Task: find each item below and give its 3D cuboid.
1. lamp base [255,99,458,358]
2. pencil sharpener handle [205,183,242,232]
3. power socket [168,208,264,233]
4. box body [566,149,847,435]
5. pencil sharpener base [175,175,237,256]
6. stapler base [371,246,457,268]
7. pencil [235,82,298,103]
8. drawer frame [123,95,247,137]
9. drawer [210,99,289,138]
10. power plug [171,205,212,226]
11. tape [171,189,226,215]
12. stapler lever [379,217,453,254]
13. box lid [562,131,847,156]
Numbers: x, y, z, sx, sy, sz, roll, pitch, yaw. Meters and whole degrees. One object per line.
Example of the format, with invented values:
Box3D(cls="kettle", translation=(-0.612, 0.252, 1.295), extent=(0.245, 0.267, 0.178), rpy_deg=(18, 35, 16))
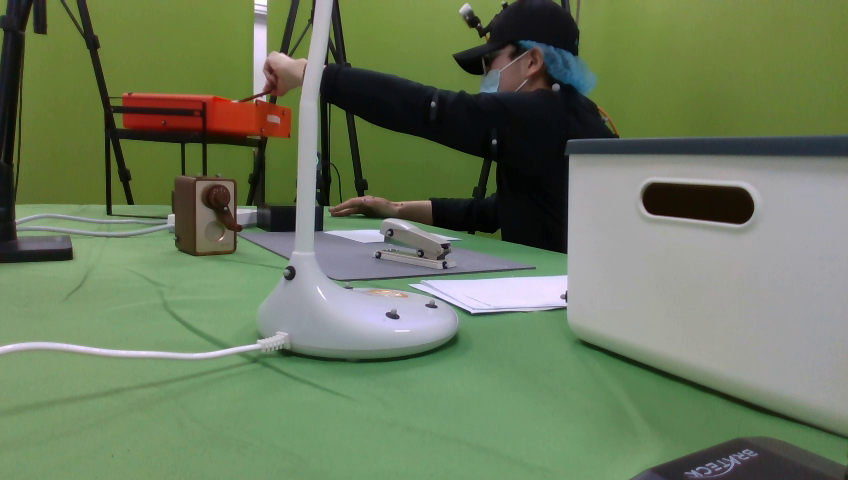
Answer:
Box3D(cls="lamp base", translation=(-0.056, -0.013, 0.462), extent=(0.160, 0.180, 0.180), rpy_deg=(6, 11, 27))
Box3D(cls="pencil sharpener handle", translation=(-0.265, -0.043, 0.813), extent=(0.036, 0.068, 0.030), rpy_deg=(-32, 28, -35))
Box3D(cls="power socket", translation=(-0.381, -0.038, 1.129), extent=(0.072, 0.032, 0.227), rpy_deg=(4, 8, 17))
Box3D(cls="box body", translation=(0.318, 0.009, 0.471), extent=(0.366, 0.160, 0.253), rpy_deg=(-2, 8, -31))
Box3D(cls="pencil sharpener base", translation=(-0.305, -0.036, 0.847), extent=(0.062, 0.107, 0.076), rpy_deg=(-4, 10, -42))
Box3D(cls="stapler base", translation=(-0.016, 0.017, 0.831), extent=(0.130, 0.024, 0.041), rpy_deg=(10, 12, 39))
Box3D(cls="pencil", translation=(-0.356, -0.326, 1.349), extent=(0.012, 0.012, 0.195), rpy_deg=(10, 33, 44))
Box3D(cls="drawer frame", translation=(-0.525, -0.280, 1.376), extent=(0.213, 0.082, 0.202), rpy_deg=(3, 8, 8))
Box3D(cls="drawer", translation=(-0.432, -0.273, 1.364), extent=(0.211, 0.073, 0.195), rpy_deg=(3, 8, 9))
Box3D(cls="power plug", translation=(-0.455, -0.040, 1.196), extent=(0.052, 0.035, 0.072), rpy_deg=(2, 44, 24))
Box3D(cls="tape", translation=(-0.515, -0.087, 1.388), extent=(0.117, 0.052, 0.117), rpy_deg=(3, 8, 0))
Box3D(cls="stapler lever", translation=(-0.014, -0.007, 0.828), extent=(0.117, 0.040, 0.027), rpy_deg=(9, 11, 39))
Box3D(cls="box lid", translation=(0.322, -0.064, 0.463), extent=(0.373, 0.015, 0.262), rpy_deg=(-2, 9, -31))
